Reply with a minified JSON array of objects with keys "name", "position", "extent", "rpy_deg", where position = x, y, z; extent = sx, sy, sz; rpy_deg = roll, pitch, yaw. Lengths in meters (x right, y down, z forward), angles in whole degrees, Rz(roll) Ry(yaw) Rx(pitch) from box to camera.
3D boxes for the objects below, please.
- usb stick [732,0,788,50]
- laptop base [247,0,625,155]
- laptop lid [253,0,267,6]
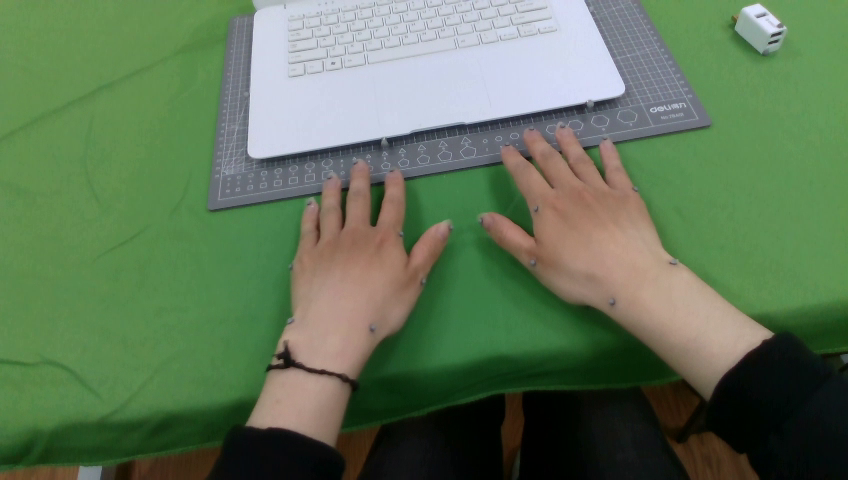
[{"name":"usb stick","position":[0.322,-0.212,0.587],"extent":[0.021,0.027,0.058],"rpy_deg":[-18,52,-4]},{"name":"laptop base","position":[-0.002,-0.196,0.621],"extent":[0.354,0.023,0.233],"rpy_deg":[-10,57,0]},{"name":"laptop lid","position":[-0.034,-0.383,0.619],"extent":[0.357,0.244,0.013],"rpy_deg":[-11,36,1]}]
